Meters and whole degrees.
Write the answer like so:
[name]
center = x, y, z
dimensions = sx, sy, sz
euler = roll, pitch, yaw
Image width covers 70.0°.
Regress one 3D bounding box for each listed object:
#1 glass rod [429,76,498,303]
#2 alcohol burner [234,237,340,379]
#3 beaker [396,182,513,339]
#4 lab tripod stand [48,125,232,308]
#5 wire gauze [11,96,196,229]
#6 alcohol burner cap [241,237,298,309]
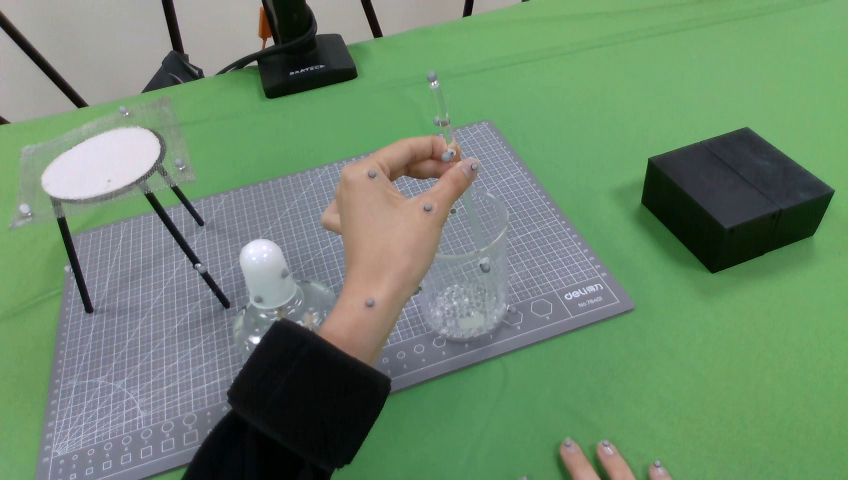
[glass rod]
center = 0.030, -0.022, 0.417
dimensions = 0.008, 0.202, 0.008
euler = -11, 42, 10
[alcohol burner]
center = -0.102, 0.045, 0.433
dimensions = 0.078, 0.120, 0.077
euler = -5, 42, 5
[beaker]
center = 0.025, 0.020, 0.450
dimensions = 0.084, 0.101, 0.073
euler = -20, 45, -10
[lab tripod stand]
center = -0.233, -0.013, 0.498
dimensions = 0.148, 0.133, 0.147
euler = -4, 46, 5
[wire gauze]
center = -0.240, -0.061, 0.451
dimensions = 0.125, 0.011, 0.120
euler = -22, 45, -12
[alcohol burner cap]
center = -0.106, 0.020, 0.407
dimensions = 0.034, 0.048, 0.033
euler = -3, 41, 3
